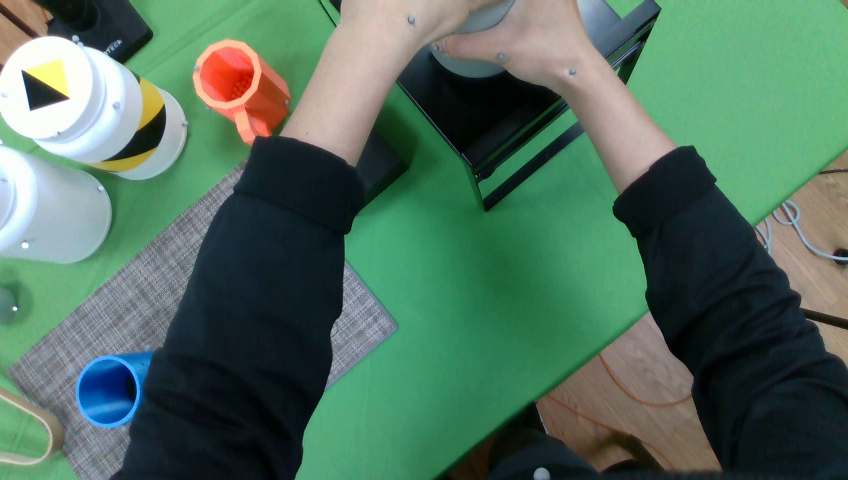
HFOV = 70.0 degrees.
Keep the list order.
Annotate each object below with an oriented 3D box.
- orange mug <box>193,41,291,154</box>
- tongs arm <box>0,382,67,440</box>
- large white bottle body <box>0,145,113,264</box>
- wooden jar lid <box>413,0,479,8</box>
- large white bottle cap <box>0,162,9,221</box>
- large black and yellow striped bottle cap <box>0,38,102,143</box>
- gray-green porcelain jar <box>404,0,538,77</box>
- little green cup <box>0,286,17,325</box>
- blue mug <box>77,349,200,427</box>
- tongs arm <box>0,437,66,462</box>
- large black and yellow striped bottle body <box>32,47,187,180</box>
[{"bbox_3d":[-0.223,-0.175,0.764,0.083,0.101,0.125,-18,78,6],"label":"orange mug"},{"bbox_3d":[-0.644,0.165,0.805,0.387,0.028,0.028,26,79,3],"label":"tongs arm"},{"bbox_3d":[-0.498,-0.042,0.746,0.130,0.185,0.130,-1,84,8],"label":"large white bottle body"},{"bbox_3d":[0.024,-0.221,0.458,0.108,0.021,0.108,-3,77,14],"label":"wooden jar lid"},{"bbox_3d":[-0.511,-0.051,0.663,0.114,0.018,0.114,-1,85,8],"label":"large white bottle cap"},{"bbox_3d":[-0.410,-0.164,0.661,0.115,0.019,0.114,-1,84,7],"label":"large black and yellow striped bottle cap"},{"bbox_3d":[0.040,-0.208,0.517,0.105,0.127,0.105,-3,78,15],"label":"gray-green porcelain jar"},{"bbox_3d":[-0.590,0.089,0.821,0.061,0.039,0.061,-1,85,7],"label":"little green cup"},{"bbox_3d":[-0.335,0.174,0.739,0.116,0.106,0.082,-15,82,6],"label":"blue mug"},{"bbox_3d":[-0.669,0.245,0.797,0.385,0.026,0.050,12,82,2],"label":"tongs arm"},{"bbox_3d":[-0.396,-0.154,0.743,0.130,0.184,0.130,-1,84,9],"label":"large black and yellow striped bottle body"}]
